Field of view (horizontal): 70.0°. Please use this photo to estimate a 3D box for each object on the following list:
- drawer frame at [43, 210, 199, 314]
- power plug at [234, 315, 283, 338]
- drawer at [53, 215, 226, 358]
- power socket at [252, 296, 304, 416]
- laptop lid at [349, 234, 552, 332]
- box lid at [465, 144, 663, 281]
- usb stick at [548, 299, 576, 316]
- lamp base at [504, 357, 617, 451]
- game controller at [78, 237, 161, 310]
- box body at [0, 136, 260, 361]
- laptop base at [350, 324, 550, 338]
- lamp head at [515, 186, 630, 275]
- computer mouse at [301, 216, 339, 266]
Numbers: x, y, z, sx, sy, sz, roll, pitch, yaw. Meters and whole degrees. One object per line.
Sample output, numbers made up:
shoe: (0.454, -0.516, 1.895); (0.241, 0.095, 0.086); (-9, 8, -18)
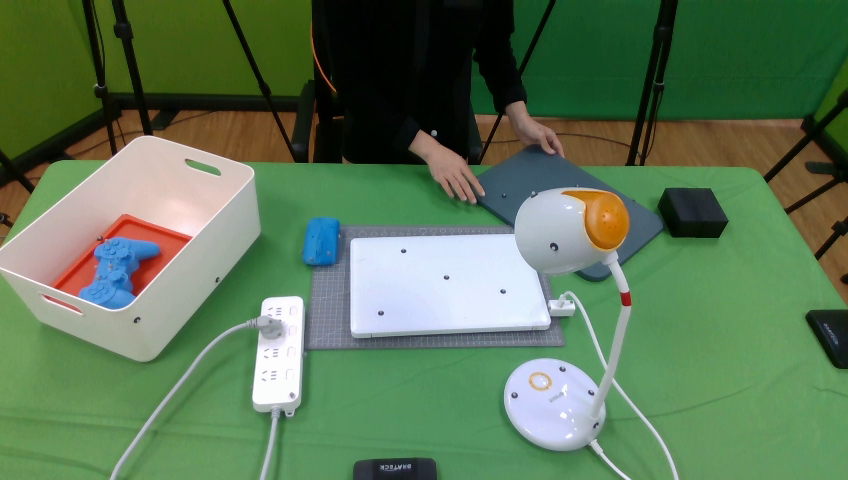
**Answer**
drawer frame: (-0.488, 0.067, 1.042); (0.201, 0.083, 0.212); (15, 53, 13)
power plug: (-0.270, 0.143, 1.000); (0.072, 0.053, 0.035); (5, 47, 2)
drawer: (-0.490, 0.077, 1.059); (0.194, 0.073, 0.211); (17, 58, 10)
power socket: (-0.238, 0.182, 0.997); (0.072, 0.033, 0.225); (-3, 47, -5)
laptop lid: (0.040, 0.071, 1.117); (0.357, 0.013, 0.240); (0, 44, -5)
box lid: (0.297, -0.073, 1.298); (0.263, 0.015, 0.369); (-33, 56, -31)
usb stick: (0.239, 0.121, 1.084); (0.059, 0.027, 0.021); (-1, 51, -1)
lamp base: (0.220, 0.211, 0.903); (0.160, 0.181, 0.178); (-33, 59, -30)
game controller: (-0.496, 0.055, 0.986); (0.097, 0.052, 0.154); (-4, 47, -3)
box body: (-0.483, 0.006, 1.056); (0.254, 0.161, 0.362); (17, 47, 12)
laptop base: (0.039, 0.081, 1.124); (0.355, 0.023, 0.234); (-2, 43, -6)
lamp head: (0.188, -0.013, 0.728); (0.112, 0.112, 0.122); (-25, 9, -25)
computer mouse: (-0.200, -0.002, 1.169); (0.063, 0.041, 0.116); (3, 50, -3)
